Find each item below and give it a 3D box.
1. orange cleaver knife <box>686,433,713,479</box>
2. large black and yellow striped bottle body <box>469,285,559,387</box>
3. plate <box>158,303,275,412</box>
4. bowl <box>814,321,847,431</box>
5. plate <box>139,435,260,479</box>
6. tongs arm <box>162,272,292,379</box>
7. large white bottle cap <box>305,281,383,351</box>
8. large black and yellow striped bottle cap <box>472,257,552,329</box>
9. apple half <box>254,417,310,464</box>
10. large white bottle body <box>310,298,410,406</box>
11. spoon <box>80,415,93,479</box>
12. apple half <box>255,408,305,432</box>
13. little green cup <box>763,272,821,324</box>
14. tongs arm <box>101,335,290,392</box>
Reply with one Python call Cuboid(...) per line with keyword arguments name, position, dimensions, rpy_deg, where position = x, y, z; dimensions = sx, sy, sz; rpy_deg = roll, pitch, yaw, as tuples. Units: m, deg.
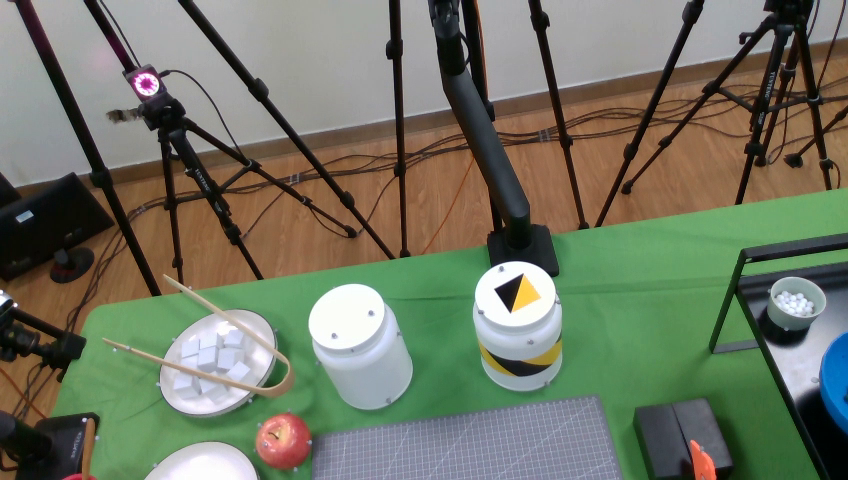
Cuboid(name="orange cleaver knife", position=(0.360, 0.352, 0.755), dimensions=(0.012, 0.077, 0.210), rpy_deg=(-10, 81, 3))
Cuboid(name="large black and yellow striped bottle body", position=(0.140, 0.128, 0.926), dimensions=(0.130, 0.186, 0.129), rpy_deg=(-6, 49, 8))
Cuboid(name="plate", position=(-0.358, 0.207, 1.064), dimensions=(0.207, 0.039, 0.205), rpy_deg=(-6, 50, 7))
Cuboid(name="bowl", position=(0.494, 0.166, 0.649), dimensions=(0.151, 0.077, 0.150), rpy_deg=(-6, 50, 8))
Cuboid(name="plate", position=(-0.339, 0.397, 0.901), dimensions=(0.209, 0.038, 0.207), rpy_deg=(-6, 50, 8))
Cuboid(name="tongs arm", position=(-0.360, 0.141, 1.080), dimensions=(0.384, 0.028, 0.028), rpy_deg=(25, 53, 32))
Cuboid(name="large white bottle cap", position=(-0.117, 0.109, 0.884), dimensions=(0.115, 0.018, 0.113), rpy_deg=(-6, 49, 8))
Cuboid(name="large black and yellow striped bottle cap", position=(0.125, 0.073, 0.863), dimensions=(0.115, 0.019, 0.114), rpy_deg=(-5, 51, 7))
Cuboid(name="apple half", position=(-0.212, 0.312, 0.922), dimensions=(0.081, 0.075, 0.053), rpy_deg=(-18, 53, -8))
Cuboid(name="large white bottle body", position=(-0.101, 0.163, 0.948), dimensions=(0.130, 0.186, 0.129), rpy_deg=(-6, 49, 8))
Cuboid(name="spoon", position=(-0.503, 0.356, 0.900), dimensions=(0.041, 0.022, 0.194), rpy_deg=(7, 97, 18))
Cuboid(name="apple half", position=(-0.225, 0.285, 0.946), dimensions=(0.081, 0.082, 0.032), rpy_deg=(-21, 55, -5))
Cuboid(name="little green cup", position=(0.458, 0.074, 0.759), dimensions=(0.061, 0.039, 0.061), rpy_deg=(-6, 50, 8))
Cuboid(name="tongs arm", position=(-0.401, 0.199, 1.037), dimensions=(0.382, 0.027, 0.050), rpy_deg=(12, 51, 24))
